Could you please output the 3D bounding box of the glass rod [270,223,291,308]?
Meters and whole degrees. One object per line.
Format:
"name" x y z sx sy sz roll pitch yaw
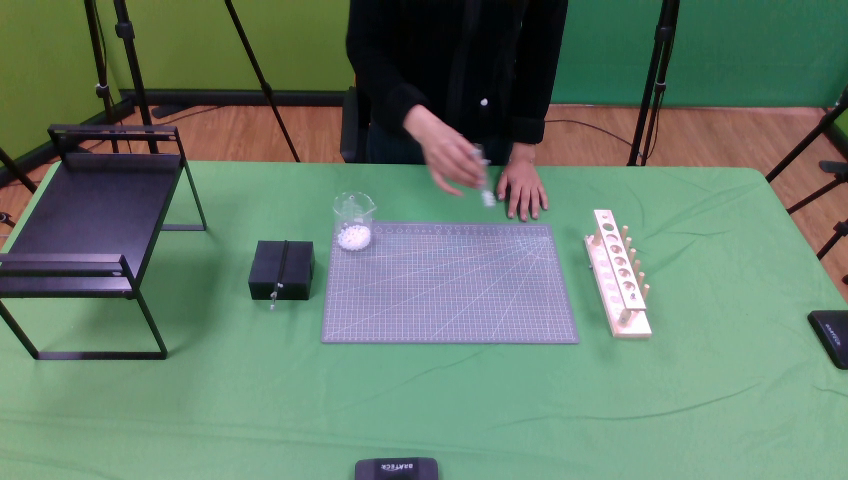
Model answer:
"glass rod" -0.255 0.041 1.081 0.008 0.008 0.198 2 46 -2

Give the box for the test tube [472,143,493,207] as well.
"test tube" 0.103 -0.110 1.054 0.017 0.151 0.017 -8 51 10

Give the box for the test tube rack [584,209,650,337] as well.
"test tube rack" 0.365 0.056 1.129 0.067 0.085 0.240 1 46 -4

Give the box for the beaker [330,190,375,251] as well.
"beaker" -0.136 -0.034 1.163 0.084 0.101 0.073 2 46 -3
